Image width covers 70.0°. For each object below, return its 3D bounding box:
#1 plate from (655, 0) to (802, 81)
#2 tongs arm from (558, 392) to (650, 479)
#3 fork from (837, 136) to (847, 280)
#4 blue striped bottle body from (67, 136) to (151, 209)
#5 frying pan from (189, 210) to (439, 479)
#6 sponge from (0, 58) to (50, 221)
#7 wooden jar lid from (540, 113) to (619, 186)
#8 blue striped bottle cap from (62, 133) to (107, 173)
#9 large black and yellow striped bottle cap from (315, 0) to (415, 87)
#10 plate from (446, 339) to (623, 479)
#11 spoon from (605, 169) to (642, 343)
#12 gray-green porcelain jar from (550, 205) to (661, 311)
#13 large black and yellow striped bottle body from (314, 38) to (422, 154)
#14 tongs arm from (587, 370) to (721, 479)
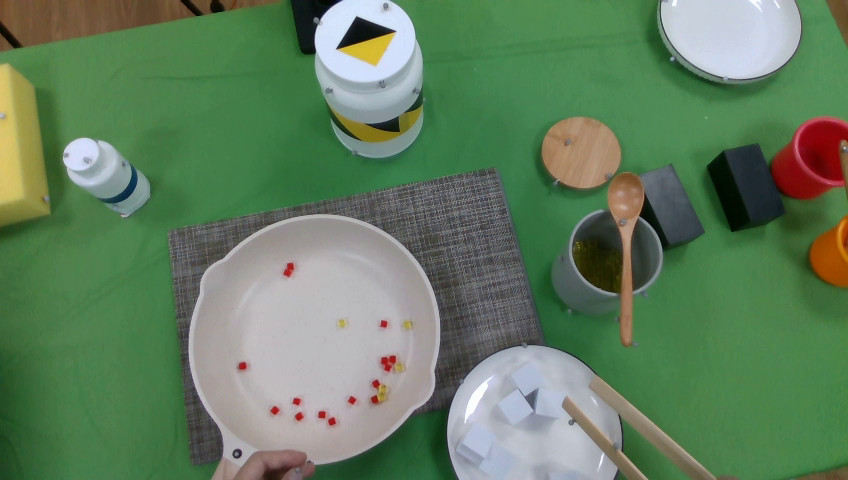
[{"bbox_3d":[0.440,-0.321,0.887,0.209,0.038,0.208,0,74,0],"label":"plate"},{"bbox_3d":[0.281,0.283,0.583,0.051,0.027,0.380,-22,51,-30],"label":"tongs arm"},{"bbox_3d":[0.523,-0.035,0.747,0.028,0.018,0.209,-24,119,1],"label":"fork"},{"bbox_3d":[-0.403,-0.088,0.769,0.063,0.121,0.062,0,73,0],"label":"blue striped bottle body"},{"bbox_3d":[-0.177,0.193,0.695,0.306,0.103,0.486,28,67,8],"label":"frying pan"},{"bbox_3d":[-0.588,-0.128,0.809,0.118,0.061,0.205,-16,75,-6],"label":"sponge"},{"bbox_3d":[0.214,-0.123,0.838,0.108,0.021,0.108,0,75,0],"label":"wooden jar lid"},{"bbox_3d":[-0.404,-0.104,0.720,0.044,0.021,0.044,0,76,-1],"label":"blue striped bottle cap"},{"bbox_3d":[-0.067,-0.230,0.694,0.115,0.019,0.114,0,75,0],"label":"large black and yellow striped bottle cap"},{"bbox_3d":[0.130,0.224,0.725,0.208,0.039,0.206,0,75,-1],"label":"plate"},{"bbox_3d":[0.221,0.016,0.669,0.041,0.022,0.193,5,77,-3],"label":"spoon"},{"bbox_3d":[0.213,0.028,0.738,0.106,0.127,0.105,0,73,0],"label":"gray-green porcelain jar"},{"bbox_3d":[-0.068,-0.205,0.774,0.131,0.185,0.130,0,73,0],"label":"large black and yellow striped bottle body"},{"bbox_3d":[0.306,0.271,0.599,0.028,0.028,0.383,-21,50,-33],"label":"tongs arm"}]
